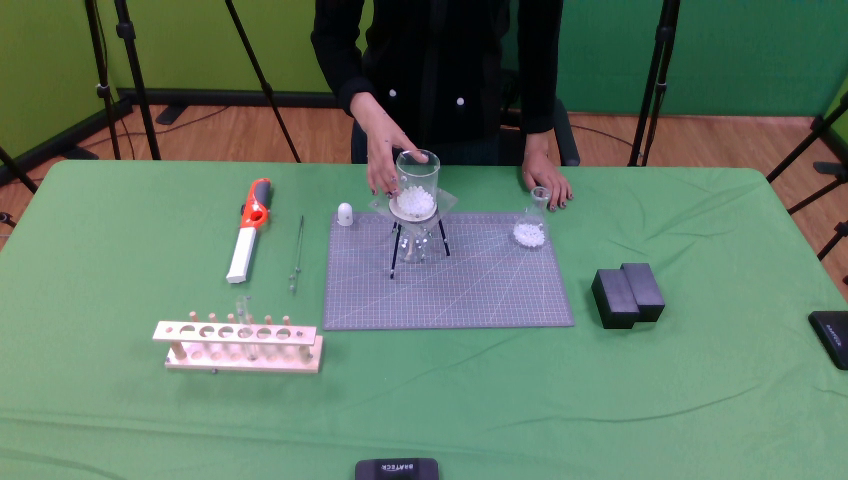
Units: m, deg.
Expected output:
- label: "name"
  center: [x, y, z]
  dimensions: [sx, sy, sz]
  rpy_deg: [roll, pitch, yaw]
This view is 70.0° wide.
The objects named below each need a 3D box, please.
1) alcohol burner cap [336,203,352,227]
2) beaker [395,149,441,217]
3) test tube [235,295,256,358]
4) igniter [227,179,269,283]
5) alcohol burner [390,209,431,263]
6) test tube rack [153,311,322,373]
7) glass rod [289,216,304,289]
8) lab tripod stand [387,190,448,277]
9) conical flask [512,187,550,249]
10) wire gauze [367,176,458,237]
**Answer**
- label: "alcohol burner cap"
  center: [-0.162, -0.053, 1.221]
  dimensions: [0.034, 0.048, 0.033]
  rpy_deg: [2, 47, -2]
- label: "beaker"
  center: [-0.015, -0.098, 1.053]
  dimensions: [0.074, 0.101, 0.083]
  rpy_deg: [-32, 56, -31]
- label: "test tube"
  center: [-0.274, 0.136, 0.933]
  dimensions: [0.017, 0.151, 0.017]
  rpy_deg: [4, 46, -4]
- label: "igniter"
  center: [-0.345, -0.027, 1.195]
  dimensions: [0.057, 0.025, 0.274]
  rpy_deg: [-6, 46, 5]
- label: "alcohol burner"
  center: [-0.024, -0.014, 1.144]
  dimensions: [0.078, 0.119, 0.077]
  rpy_deg: [4, 45, -3]
- label: "test tube rack"
  center: [-0.293, 0.160, 0.978]
  dimensions: [0.242, 0.085, 0.066]
  rpy_deg: [3, 46, -2]
- label: "glass rod"
  center: [-0.247, 0.020, 1.171]
  dimensions: [0.008, 0.008, 0.198]
  rpy_deg: [0, 43, -3]
- label: "lab tripod stand"
  center: [-0.021, -0.018, 1.135]
  dimensions: [0.148, 0.132, 0.147]
  rpy_deg: [3, 44, -3]
- label: "conical flask"
  center: [0.217, -0.048, 1.190]
  dimensions: [0.075, 0.122, 0.075]
  rpy_deg: [2, 46, -2]
- label: "wire gauze"
  center: [-0.020, -0.066, 1.089]
  dimensions: [0.124, 0.011, 0.121]
  rpy_deg: [27, 47, 22]
